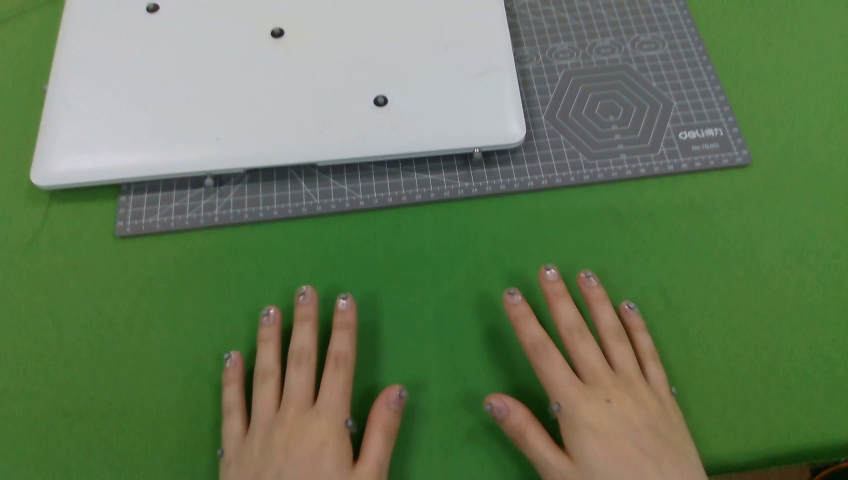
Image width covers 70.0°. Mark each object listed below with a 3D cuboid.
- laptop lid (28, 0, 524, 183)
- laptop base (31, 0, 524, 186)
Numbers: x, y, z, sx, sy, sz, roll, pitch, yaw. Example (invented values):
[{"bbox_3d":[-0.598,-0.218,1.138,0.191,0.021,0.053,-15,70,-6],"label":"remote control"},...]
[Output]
[{"bbox_3d":[-0.112,-0.161,0.466,0.357,0.013,0.240,-4,67,0],"label":"laptop lid"},{"bbox_3d":[-0.112,-0.157,0.478,0.354,0.023,0.233,-5,68,-1],"label":"laptop base"}]
